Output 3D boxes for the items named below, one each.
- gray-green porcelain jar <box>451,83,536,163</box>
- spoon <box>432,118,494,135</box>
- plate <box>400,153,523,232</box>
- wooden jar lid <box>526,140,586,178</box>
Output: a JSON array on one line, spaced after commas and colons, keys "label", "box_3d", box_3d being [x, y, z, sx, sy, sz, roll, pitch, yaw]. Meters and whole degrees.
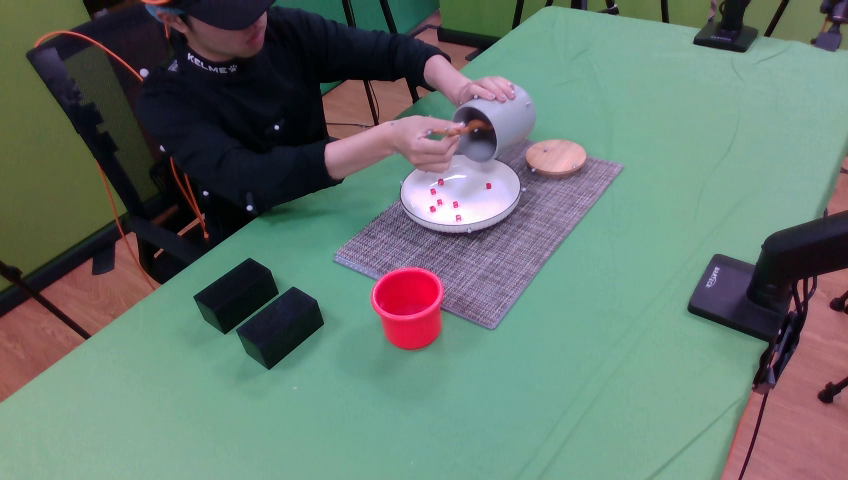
[{"label": "gray-green porcelain jar", "box_3d": [0.126, -0.208, 1.053, 0.105, 0.106, 0.127, 26, 47, 33]}, {"label": "spoon", "box_3d": [0.065, -0.182, 0.985, 0.041, 0.021, 0.194, 9, 20, 28]}, {"label": "plate", "box_3d": [0.065, -0.078, 1.034, 0.207, 0.039, 0.206, -4, 41, 4]}, {"label": "wooden jar lid", "box_3d": [0.240, -0.147, 1.103, 0.108, 0.021, 0.108, -4, 42, 4]}]
